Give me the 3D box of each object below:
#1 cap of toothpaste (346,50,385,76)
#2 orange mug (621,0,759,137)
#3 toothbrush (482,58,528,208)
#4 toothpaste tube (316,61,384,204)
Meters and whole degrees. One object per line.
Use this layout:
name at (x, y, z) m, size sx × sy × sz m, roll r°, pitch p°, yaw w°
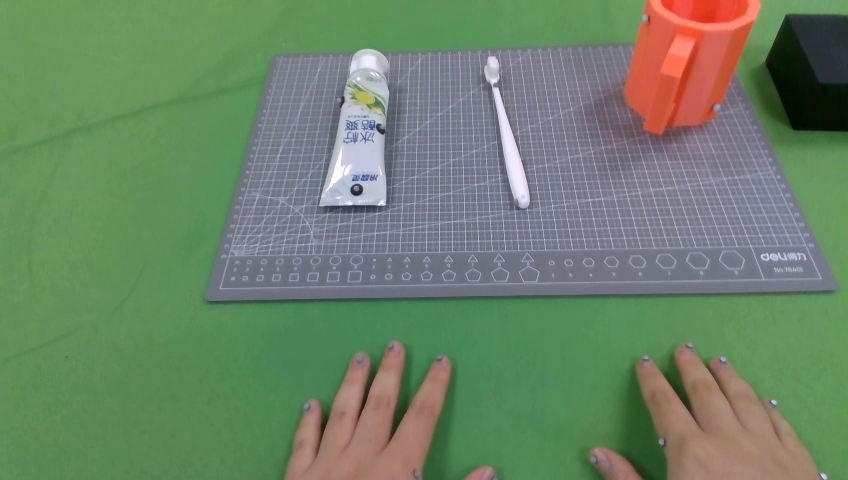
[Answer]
cap of toothpaste at (-0.055, -0.162, 0.569) m, size 0.037 × 0.037 × 0.011 m, roll 2°, pitch 58°, yaw 4°
orange mug at (0.214, -0.149, 0.509) m, size 0.083 × 0.102 × 0.125 m, roll 22°, pitch 52°, yaw 19°
toothbrush at (0.070, -0.099, 0.528) m, size 0.014 × 0.017 × 0.180 m, roll 3°, pitch 52°, yaw -12°
toothpaste tube at (-0.059, -0.097, 0.527) m, size 0.055 × 0.035 × 0.163 m, roll -4°, pitch 56°, yaw 6°
